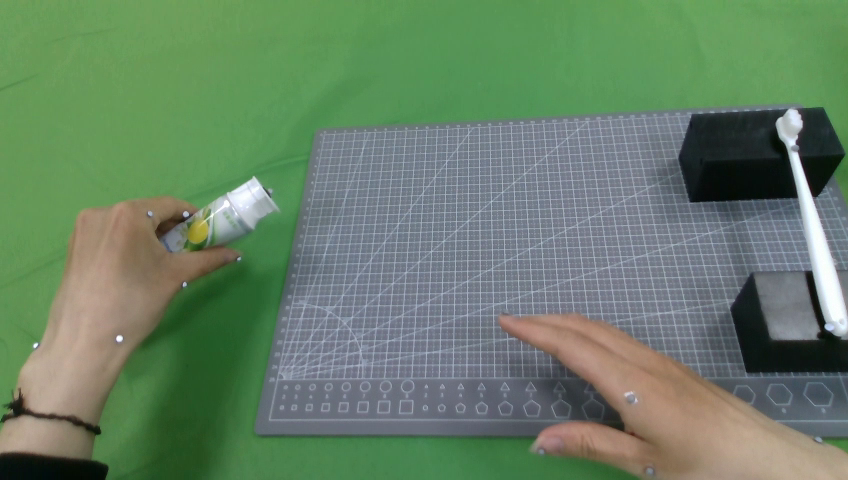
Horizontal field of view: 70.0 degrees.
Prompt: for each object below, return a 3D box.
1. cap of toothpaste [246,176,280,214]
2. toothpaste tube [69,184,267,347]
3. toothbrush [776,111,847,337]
[{"bbox_3d":[-0.127,-0.034,0.477,0.011,0.038,0.037,-36,57,-8],"label":"cap of toothpaste"},{"bbox_3d":[-0.191,0.010,0.467,0.165,0.035,0.054,-37,71,-9],"label":"toothpaste tube"},{"bbox_3d":[0.263,-0.019,0.411,0.014,0.017,0.180,11,58,-3],"label":"toothbrush"}]
